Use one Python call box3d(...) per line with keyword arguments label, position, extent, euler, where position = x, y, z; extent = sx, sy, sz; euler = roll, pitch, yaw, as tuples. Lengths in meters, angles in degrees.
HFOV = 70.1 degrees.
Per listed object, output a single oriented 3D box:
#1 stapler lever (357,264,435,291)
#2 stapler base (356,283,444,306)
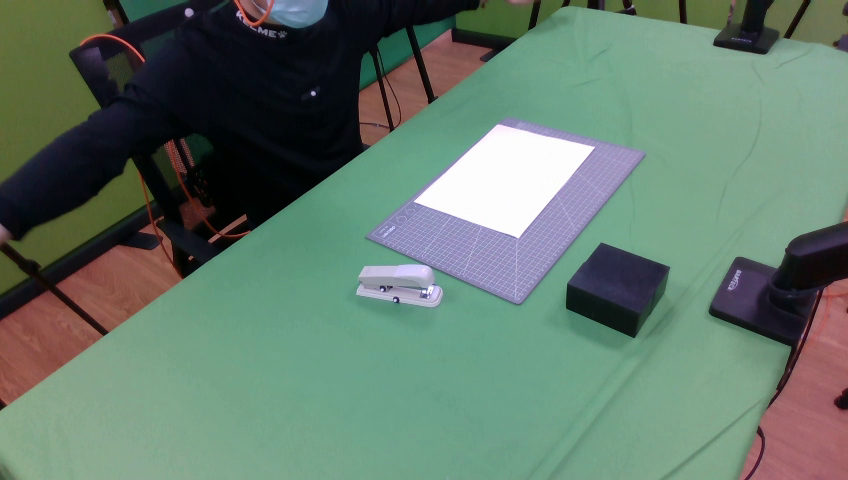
box3d(label="stapler lever", position=(-0.041, 0.051, 0.879), extent=(0.117, 0.040, 0.027), euler=(7, 40, 17))
box3d(label="stapler base", position=(-0.037, 0.069, 0.895), extent=(0.130, 0.024, 0.041), euler=(6, 40, 17))
